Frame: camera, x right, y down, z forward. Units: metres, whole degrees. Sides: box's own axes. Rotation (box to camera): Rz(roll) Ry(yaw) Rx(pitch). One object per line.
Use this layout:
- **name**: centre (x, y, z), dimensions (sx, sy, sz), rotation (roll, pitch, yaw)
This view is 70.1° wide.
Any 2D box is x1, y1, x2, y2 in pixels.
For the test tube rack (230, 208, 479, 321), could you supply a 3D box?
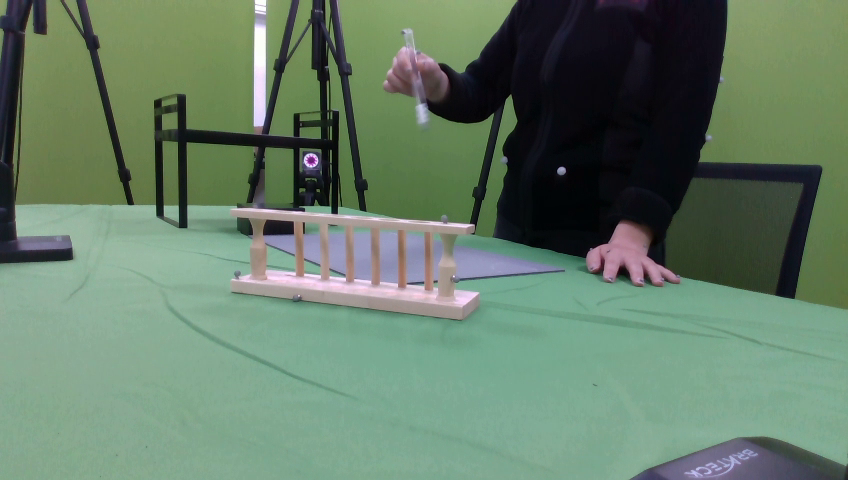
- **test tube rack**: centre (-0.069, 0.017, 0.598), dimensions (0.242, 0.085, 0.067), rotation (5, 8, 18)

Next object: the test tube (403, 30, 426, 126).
- **test tube**: centre (-0.014, -0.250, 0.936), dimensions (0.017, 0.150, 0.017), rotation (-8, -1, 0)
